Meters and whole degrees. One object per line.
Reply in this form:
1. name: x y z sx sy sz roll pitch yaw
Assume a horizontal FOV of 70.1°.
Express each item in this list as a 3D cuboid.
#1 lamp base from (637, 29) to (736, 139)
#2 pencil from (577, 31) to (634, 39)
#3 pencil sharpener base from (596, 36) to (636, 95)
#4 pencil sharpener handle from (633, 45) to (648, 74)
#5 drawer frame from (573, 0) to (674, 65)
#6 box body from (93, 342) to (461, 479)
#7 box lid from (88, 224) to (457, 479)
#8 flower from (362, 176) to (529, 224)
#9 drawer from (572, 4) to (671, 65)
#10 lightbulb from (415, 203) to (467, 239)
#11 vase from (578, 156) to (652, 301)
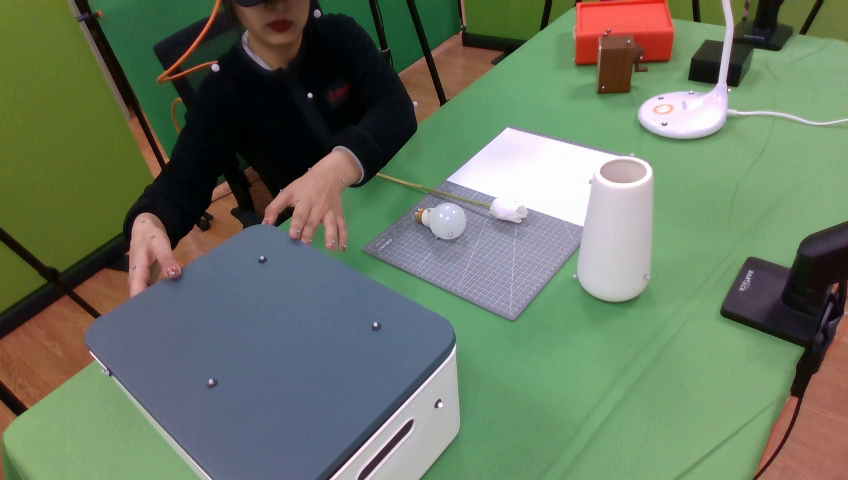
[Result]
1. lamp base: 0.501 -0.302 1.125 0.179 0.181 0.160 -4 40 3
2. pencil: 0.431 -0.488 1.443 0.012 0.012 0.192 -25 30 -18
3. pencil sharpener base: 0.406 -0.369 1.280 0.076 0.107 0.061 1 41 13
4. pencil sharpener handle: 0.454 -0.378 1.262 0.030 0.068 0.036 1 47 13
5. drawer frame: 0.464 -0.492 1.434 0.213 0.083 0.201 1 40 12
6. box body: -0.162 0.170 0.708 0.361 0.161 0.255 25 50 34
7. box lid: -0.177 0.103 0.664 0.368 0.015 0.264 24 48 35
8. flower: 0.024 -0.083 1.087 0.359 0.038 0.044 16 16 33
9. drawer: 0.461 -0.490 1.434 0.211 0.073 0.194 2 40 12
10. lightbulb: 0.024 -0.034 0.998 0.060 0.060 0.107 -38 32 -30
11. vase: 0.261 -0.011 0.812 0.098 0.201 0.097 -4 40 4
